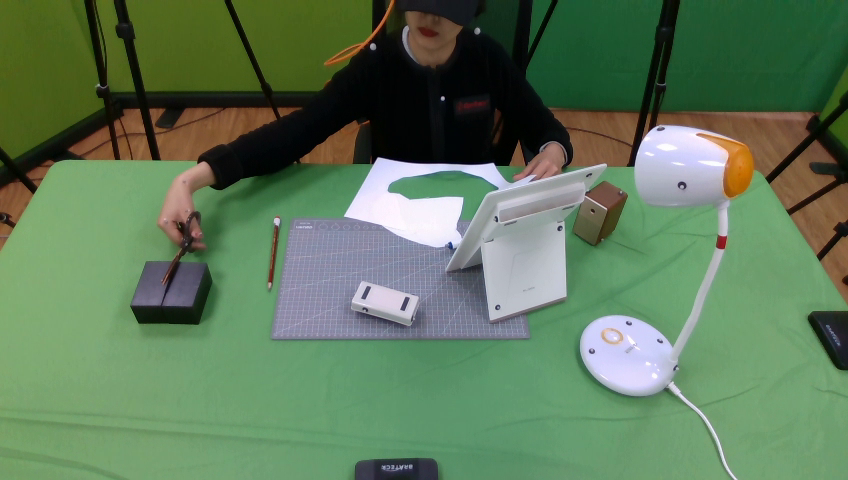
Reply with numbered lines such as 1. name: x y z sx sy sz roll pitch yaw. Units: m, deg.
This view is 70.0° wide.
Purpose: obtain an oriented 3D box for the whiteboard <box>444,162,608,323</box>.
1. whiteboard: 0.186 0.025 1.029 0.217 0.306 0.143 -14 68 -18

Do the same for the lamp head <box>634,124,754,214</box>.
1. lamp head: 0.351 -0.089 0.775 0.112 0.113 0.122 -30 30 -28

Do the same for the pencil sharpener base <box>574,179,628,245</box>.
1. pencil sharpener base: 0.355 -0.057 1.217 0.076 0.107 0.061 -33 56 -31

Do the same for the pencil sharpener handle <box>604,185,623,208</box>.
1. pencil sharpener handle: 0.390 -0.091 1.235 0.030 0.068 0.036 -33 69 -31

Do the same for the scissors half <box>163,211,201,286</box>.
1. scissors half: -0.433 0.012 1.081 0.013 0.040 0.174 10 50 -4

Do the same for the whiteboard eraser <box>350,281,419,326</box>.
1. whiteboard eraser: -0.069 0.113 1.065 0.112 0.042 0.055 14 46 9

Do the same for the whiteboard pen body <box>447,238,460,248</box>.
1. whiteboard pen body: 0.112 -0.005 1.204 0.141 0.017 0.017 -14 49 -18

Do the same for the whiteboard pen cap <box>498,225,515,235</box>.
1. whiteboard pen cap: 0.166 -0.019 1.222 0.033 0.018 0.018 -14 49 -19

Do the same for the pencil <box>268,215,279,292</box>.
1. pencil: -0.290 0.022 1.164 0.012 0.012 0.192 -2 48 -6

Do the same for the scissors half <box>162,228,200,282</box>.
1. scissors half: -0.439 0.028 1.094 0.013 0.040 0.174 15 26 -7

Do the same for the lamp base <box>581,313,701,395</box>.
1. lamp base: 0.361 0.144 0.972 0.178 0.181 0.160 34 53 23
